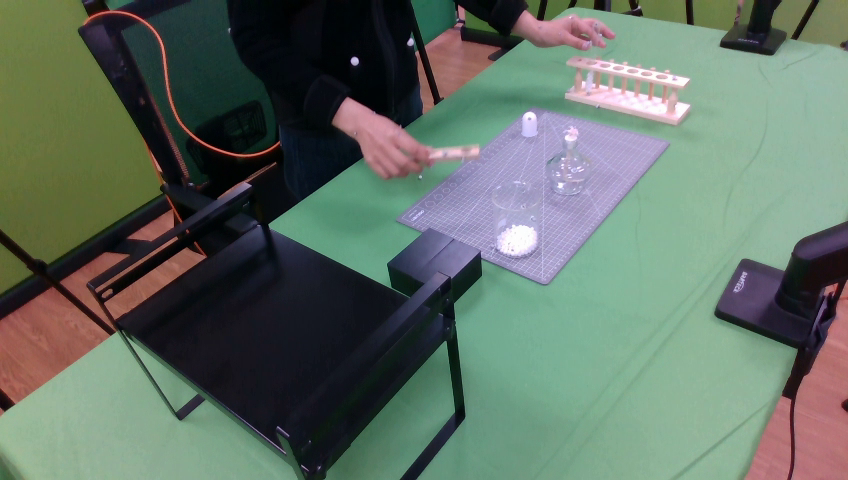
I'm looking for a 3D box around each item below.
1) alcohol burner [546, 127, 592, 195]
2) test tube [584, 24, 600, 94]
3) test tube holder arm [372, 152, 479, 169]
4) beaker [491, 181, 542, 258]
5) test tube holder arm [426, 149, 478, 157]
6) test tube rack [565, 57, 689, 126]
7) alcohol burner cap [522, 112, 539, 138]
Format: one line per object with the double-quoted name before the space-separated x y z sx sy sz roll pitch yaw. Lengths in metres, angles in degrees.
"alcohol burner" 0.246 -0.137 1.023 0.078 0.119 0.077 -4 38 4
"test tube" 0.339 -0.363 1.225 0.017 0.151 0.017 -3 43 3
"test tube holder arm" 0.002 -0.133 1.005 0.178 0.015 0.013 -5 52 6
"beaker" 0.144 -0.030 0.925 0.073 0.101 0.084 23 48 31
"test tube holder arm" 0.047 -0.141 1.003 0.088 0.015 0.010 -4 52 8
"test tube rack" 0.412 -0.311 1.230 0.240 0.085 0.067 23 49 32
"alcohol burner cap" 0.210 -0.230 1.195 0.034 0.048 0.033 -5 41 5
